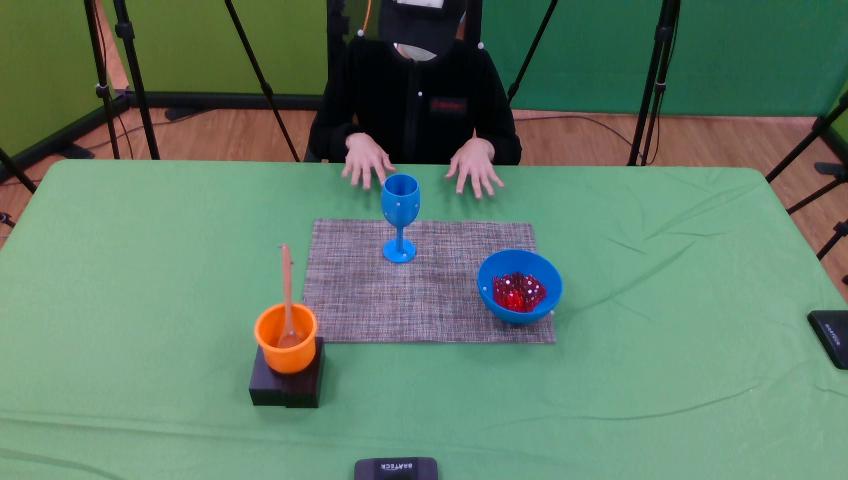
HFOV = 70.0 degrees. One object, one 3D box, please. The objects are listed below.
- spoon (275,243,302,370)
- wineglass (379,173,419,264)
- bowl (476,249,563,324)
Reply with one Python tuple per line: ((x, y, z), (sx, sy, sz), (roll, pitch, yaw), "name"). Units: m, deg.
((-0.209, 0.101, 0.926), (0.041, 0.193, 0.021), (-2, 2, -6), "spoon")
((-0.046, -0.036, 1.120), (0.074, 0.173, 0.073), (2, 46, -2), "wineglass")
((0.163, 0.096, 1.074), (0.151, 0.077, 0.150), (2, 46, -2), "bowl")
